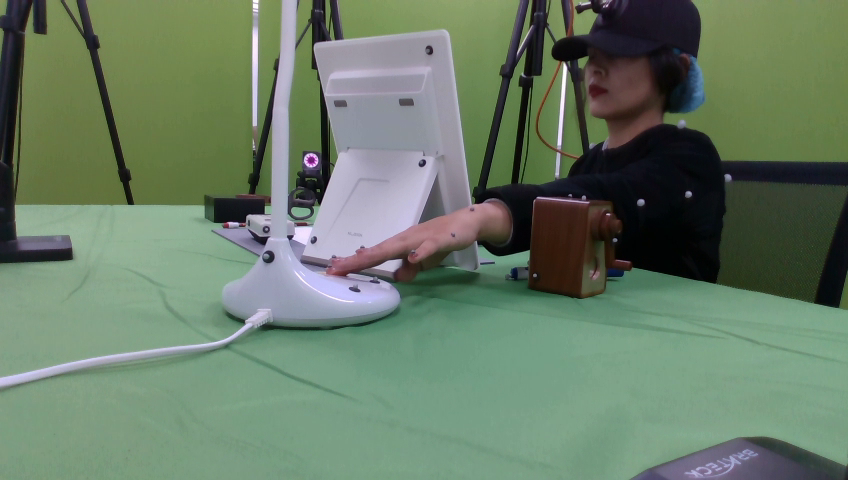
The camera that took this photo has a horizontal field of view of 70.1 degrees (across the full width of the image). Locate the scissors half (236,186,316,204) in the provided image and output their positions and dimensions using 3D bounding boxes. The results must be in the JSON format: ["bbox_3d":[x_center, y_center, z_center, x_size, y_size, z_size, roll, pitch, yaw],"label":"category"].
[{"bbox_3d":[-0.320,-0.097,1.316,0.176,0.040,0.013,-3,11,-29],"label":"scissors half"}]

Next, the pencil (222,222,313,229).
[{"bbox_3d":[-0.302,-0.030,1.189,0.195,0.012,0.012,-2,9,-42],"label":"pencil"}]

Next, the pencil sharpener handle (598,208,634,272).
[{"bbox_3d":[0.208,0.000,0.645,0.030,0.068,0.036,10,24,42],"label":"pencil sharpener handle"}]

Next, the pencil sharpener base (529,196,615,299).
[{"bbox_3d":[0.167,0.007,0.678,0.076,0.107,0.062,10,10,42],"label":"pencil sharpener base"}]

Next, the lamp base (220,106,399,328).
[{"bbox_3d":[-0.102,-0.023,0.531,0.160,0.180,0.179,4,10,10],"label":"lamp base"}]

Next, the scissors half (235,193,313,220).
[{"bbox_3d":[-0.325,-0.077,1.319,0.176,0.040,0.012,17,6,-31],"label":"scissors half"}]

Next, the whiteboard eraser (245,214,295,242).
[{"bbox_3d":[-0.247,-0.018,0.965,0.056,0.042,0.112,0,7,-28],"label":"whiteboard eraser"}]

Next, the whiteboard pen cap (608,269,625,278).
[{"bbox_3d":[0.237,0.039,0.767,0.033,0.018,0.018,-1,8,-7],"label":"whiteboard pen cap"}]

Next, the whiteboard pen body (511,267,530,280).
[{"bbox_3d":[0.178,0.042,0.758,0.141,0.017,0.017,0,8,-9],"label":"whiteboard pen body"}]

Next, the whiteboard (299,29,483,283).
[{"bbox_3d":[-0.074,-0.082,0.742,0.216,0.305,0.144,9,29,37],"label":"whiteboard"}]
